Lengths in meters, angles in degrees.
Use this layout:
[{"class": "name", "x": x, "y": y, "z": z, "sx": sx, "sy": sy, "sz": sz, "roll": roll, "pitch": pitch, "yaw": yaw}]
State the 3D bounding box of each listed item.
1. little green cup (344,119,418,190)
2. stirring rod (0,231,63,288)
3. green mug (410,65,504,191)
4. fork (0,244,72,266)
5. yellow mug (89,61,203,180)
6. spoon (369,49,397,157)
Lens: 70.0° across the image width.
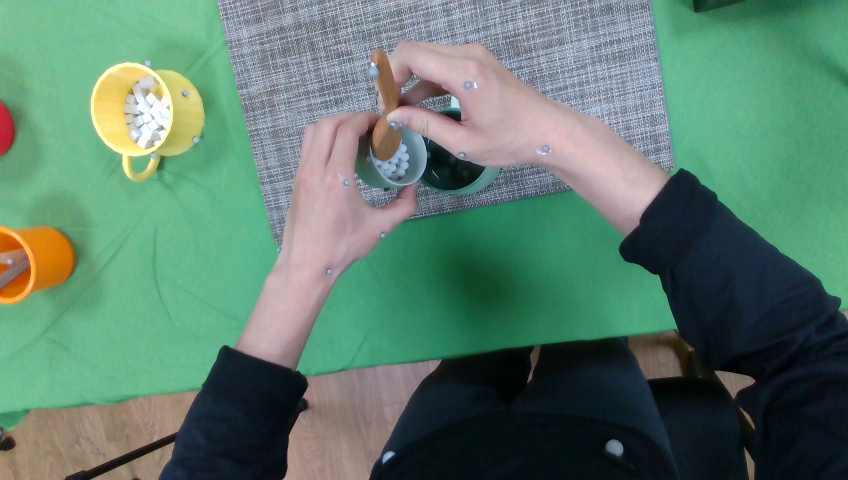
[{"class": "little green cup", "x": -0.041, "y": -0.080, "z": 0.548, "sx": 0.038, "sy": 0.062, "sz": 0.061, "roll": 37, "pitch": 107, "yaw": 44}, {"class": "stirring rod", "x": -0.502, "y": 0.050, "z": 0.712, "sx": 0.014, "sy": 0.006, "sz": 0.175, "roll": 40, "pitch": 61, "yaw": 0}, {"class": "green mug", "x": 0.033, "y": -0.110, "z": 0.605, "sx": 0.092, "sy": 0.105, "sz": 0.125, "roll": 7, "pitch": 100, "yaw": 9}, {"class": "fork", "x": -0.531, "y": 0.019, "z": 0.706, "sx": 0.208, "sy": 0.018, "sz": 0.028, "roll": 0, "pitch": 99, "yaw": -34}, {"class": "yellow mug", "x": -0.315, "y": -0.132, "z": 0.686, "sx": 0.100, "sy": 0.064, "sz": 0.131, "roll": 15, "pitch": 103, "yaw": 7}, {"class": "spoon", "x": -0.029, "y": -0.098, "z": 0.446, "sx": 0.021, "sy": 0.194, "sz": 0.041, "roll": 28, "pitch": 83, "yaw": -2}]
